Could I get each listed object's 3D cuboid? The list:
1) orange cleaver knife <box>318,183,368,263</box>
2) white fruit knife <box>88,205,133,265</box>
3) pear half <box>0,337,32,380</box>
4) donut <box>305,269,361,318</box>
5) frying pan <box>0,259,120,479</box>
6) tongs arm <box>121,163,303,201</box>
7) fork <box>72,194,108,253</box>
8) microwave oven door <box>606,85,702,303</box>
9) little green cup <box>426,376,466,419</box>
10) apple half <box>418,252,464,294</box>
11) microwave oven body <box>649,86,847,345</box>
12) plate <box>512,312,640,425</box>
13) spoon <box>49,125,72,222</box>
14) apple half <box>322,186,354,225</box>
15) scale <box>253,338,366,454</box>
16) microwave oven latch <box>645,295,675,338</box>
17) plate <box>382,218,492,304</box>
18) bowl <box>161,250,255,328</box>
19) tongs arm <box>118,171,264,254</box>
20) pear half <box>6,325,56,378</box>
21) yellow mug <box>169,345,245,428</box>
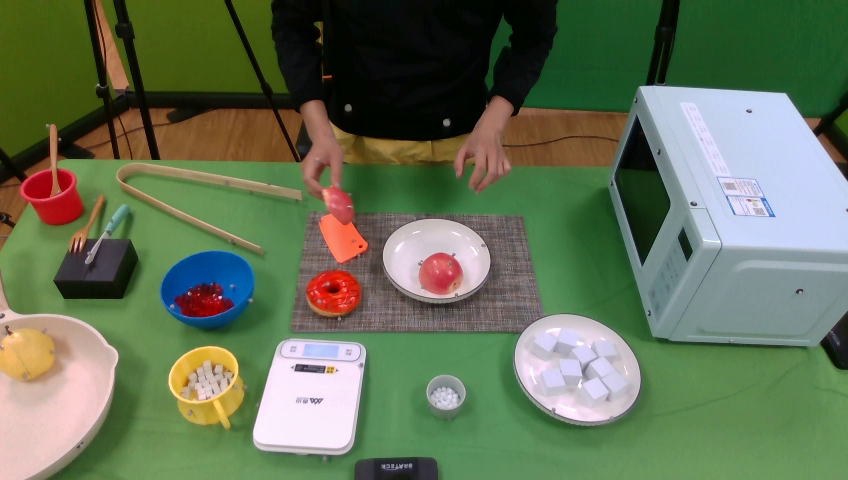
[{"bbox_3d":[-0.173,-0.037,1.218,0.077,0.012,0.210,-16,51,-11],"label":"orange cleaver knife"},{"bbox_3d":[-0.584,-0.013,1.129,0.016,0.027,0.206,0,32,-5],"label":"white fruit knife"},{"bbox_3d":[-0.631,0.184,0.921,0.070,0.088,0.031,29,49,19],"label":"pear half"},{"bbox_3d":[-0.160,0.094,1.075,0.099,0.048,0.098,4,45,-3],"label":"donut"},{"bbox_3d":[-0.647,0.164,0.936,0.307,0.103,0.485,-19,58,-22],"label":"frying pan"},{"bbox_3d":[-0.444,-0.114,1.266,0.384,0.026,0.050,12,50,8],"label":"tongs arm"},{"bbox_3d":[-0.634,-0.036,1.158,0.028,0.019,0.206,-8,32,-8],"label":"fork"},{"bbox_3d":[0.423,-0.094,1.140,0.039,0.245,0.353,2,46,-1],"label":"microwave oven door"},{"bbox_3d":[0.033,0.248,0.950,0.061,0.039,0.061,2,46,-2],"label":"little green cup"},{"bbox_3d":[0.033,0.055,1.109,0.081,0.053,0.074,-29,58,-27],"label":"apple half"},{"bbox_3d":[0.567,-0.053,1.118,0.326,0.261,0.439,2,45,-1],"label":"microwave oven body"},{"bbox_3d":[0.246,0.213,0.999,0.208,0.039,0.206,2,46,-2],"label":"plate"},{"bbox_3d":[-0.718,-0.131,1.189,0.041,0.021,0.193,-4,90,-6],"label":"spoon"},{"bbox_3d":[-0.151,-0.069,1.105,0.033,0.082,0.081,-25,45,14],"label":"apple half"},{"bbox_3d":[-0.175,0.236,0.951,0.149,0.032,0.199,4,45,-1],"label":"scale"},{"bbox_3d":[0.412,0.134,1.061,0.030,0.029,0.078,3,45,0],"label":"microwave oven latch"},{"bbox_3d":[0.023,0.042,1.143,0.209,0.038,0.208,2,46,-2],"label":"plate"},{"bbox_3d":[-0.362,0.098,1.039,0.151,0.077,0.150,2,45,-2],"label":"bowl"},{"bbox_3d":[-0.474,-0.055,1.210,0.386,0.028,0.028,24,56,18],"label":"tongs arm"},{"bbox_3d":[-0.608,0.158,0.935,0.076,0.110,0.056,31,51,20],"label":"pear half"},{"bbox_3d":[-0.322,0.230,0.922,0.100,0.064,0.130,-24,53,-25],"label":"yellow mug"}]
